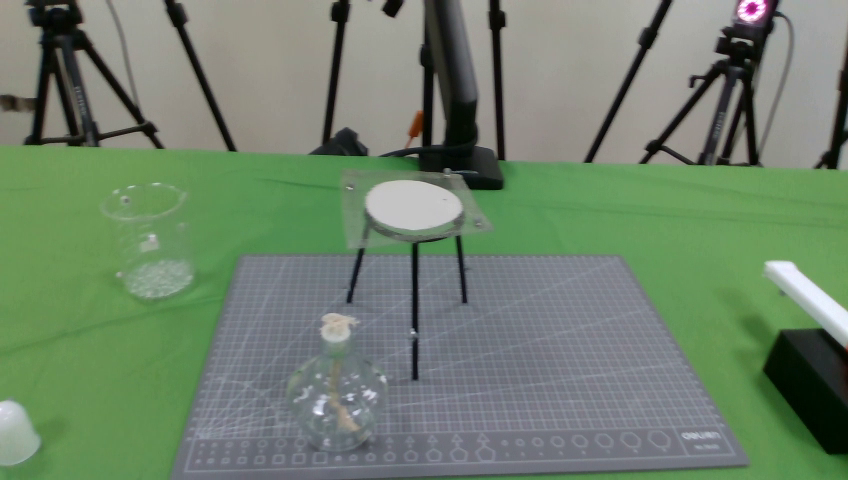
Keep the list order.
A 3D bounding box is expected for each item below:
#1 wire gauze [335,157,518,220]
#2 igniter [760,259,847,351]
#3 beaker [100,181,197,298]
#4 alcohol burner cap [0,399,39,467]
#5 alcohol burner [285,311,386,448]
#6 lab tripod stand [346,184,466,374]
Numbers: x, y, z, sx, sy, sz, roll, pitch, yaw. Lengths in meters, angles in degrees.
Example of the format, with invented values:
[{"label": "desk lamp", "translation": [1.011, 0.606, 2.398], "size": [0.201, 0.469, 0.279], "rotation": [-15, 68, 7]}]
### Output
[{"label": "wire gauze", "translation": [0.000, -0.045, 0.521], "size": [0.125, 0.011, 0.120], "rotation": [-8, 30, -30]}, {"label": "igniter", "translation": [0.382, 0.095, 0.521], "size": [0.057, 0.025, 0.274], "rotation": [0, 30, -7]}, {"label": "beaker", "translation": [-0.271, 0.000, 0.612], "size": [0.073, 0.101, 0.084], "rotation": [31, 41, 34]}, {"label": "alcohol burner cap", "translation": [-0.309, 0.139, 0.446], "size": [0.034, 0.048, 0.033], "rotation": [5, 32, -3]}, {"label": "alcohol burner", "translation": [-0.067, 0.101, 0.462], "size": [0.078, 0.120, 0.077], "rotation": [5, 32, -3]}, {"label": "lab tripod stand", "translation": [-0.010, 0.028, 0.563], "size": [0.148, 0.132, 0.147], "rotation": [4, 34, -3]}]
